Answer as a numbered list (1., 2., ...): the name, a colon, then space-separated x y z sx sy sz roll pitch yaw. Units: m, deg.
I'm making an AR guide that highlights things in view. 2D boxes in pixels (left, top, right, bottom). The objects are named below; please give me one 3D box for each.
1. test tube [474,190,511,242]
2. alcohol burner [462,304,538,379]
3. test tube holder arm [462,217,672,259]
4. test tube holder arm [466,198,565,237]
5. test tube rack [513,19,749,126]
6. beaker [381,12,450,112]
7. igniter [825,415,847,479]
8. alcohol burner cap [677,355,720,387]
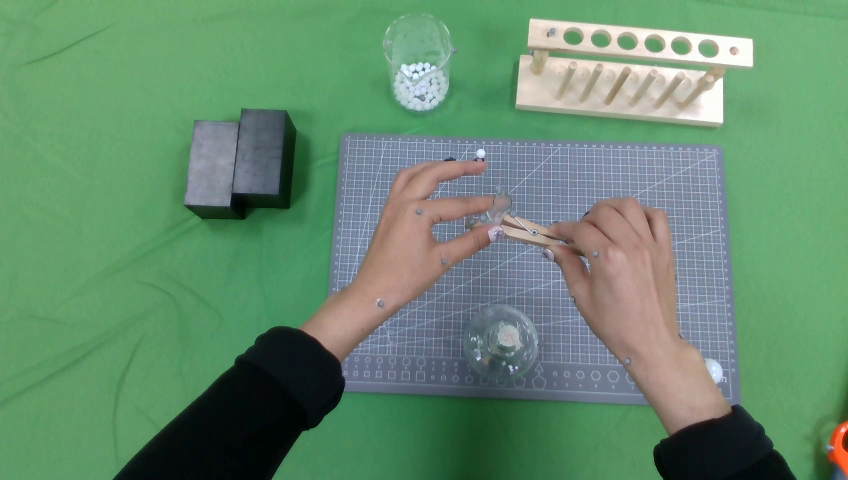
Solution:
1. test tube: 0.057 -0.017 0.531 0.017 0.150 0.017 0 80 0
2. alcohol burner: 0.078 0.100 0.608 0.078 0.119 0.077 0 75 -1
3. test tube holder arm: 0.122 -0.001 0.523 0.178 0.015 0.013 10 72 4
4. test tube holder arm: 0.080 -0.016 0.528 0.087 0.015 0.010 20 72 7
5. test tube rack: 0.230 -0.190 0.694 0.242 0.085 0.066 6 77 2
6. beaker: -0.009 -0.195 0.690 0.074 0.100 0.083 5 77 2
7. igniter: 0.456 0.190 0.631 0.057 0.025 0.275 25 78 -4
8. alcohol burner cap: 0.290 0.136 0.635 0.034 0.048 0.033 0 75 0
